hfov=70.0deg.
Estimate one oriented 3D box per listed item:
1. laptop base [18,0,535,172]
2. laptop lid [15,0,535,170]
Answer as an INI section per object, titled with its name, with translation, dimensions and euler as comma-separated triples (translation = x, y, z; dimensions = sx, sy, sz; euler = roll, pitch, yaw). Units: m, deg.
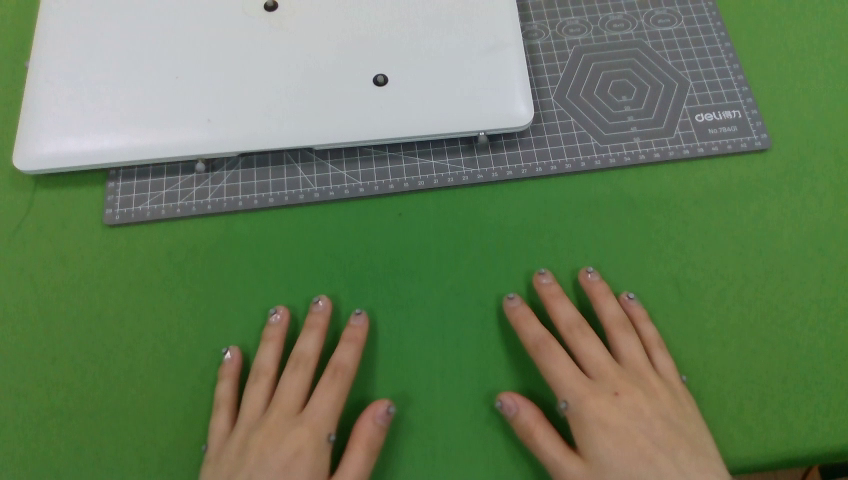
[laptop base]
translation = -0.108, -0.166, 0.455
dimensions = 0.354, 0.023, 0.234
euler = -5, 70, 0
[laptop lid]
translation = -0.108, -0.169, 0.443
dimensions = 0.357, 0.013, 0.240
euler = -3, 69, 0
